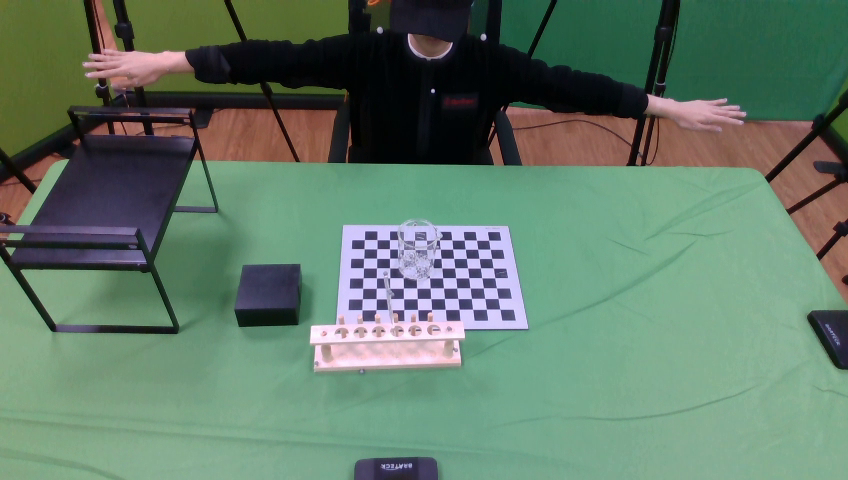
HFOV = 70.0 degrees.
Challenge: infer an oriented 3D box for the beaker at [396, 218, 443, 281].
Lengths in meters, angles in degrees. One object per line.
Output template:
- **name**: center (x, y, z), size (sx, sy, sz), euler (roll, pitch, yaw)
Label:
- **beaker**: center (-0.010, 0.020, 1.115), size (0.084, 0.101, 0.073), euler (1, 46, -3)

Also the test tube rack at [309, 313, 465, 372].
- **test tube rack**: center (-0.059, 0.161, 0.990), size (0.242, 0.085, 0.066), euler (-1, 46, -5)

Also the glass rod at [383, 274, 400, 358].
- **glass rod**: center (-0.049, 0.123, 0.936), size (0.008, 0.201, 0.008), euler (-3, 43, 3)
